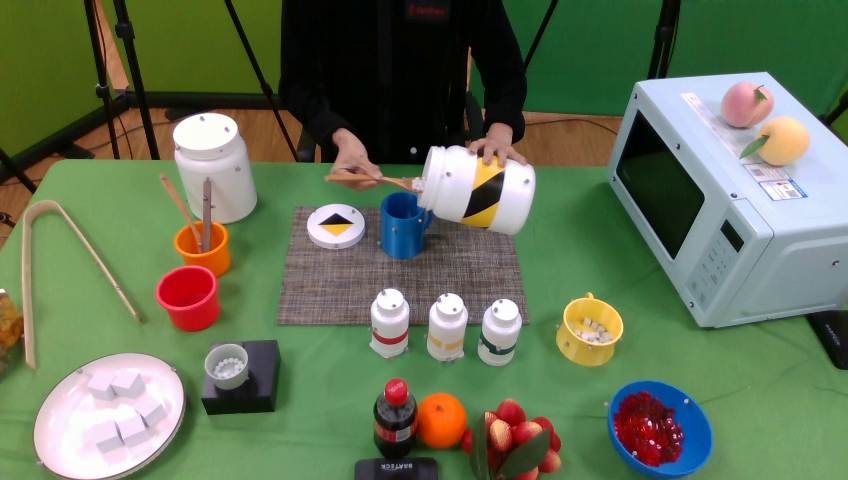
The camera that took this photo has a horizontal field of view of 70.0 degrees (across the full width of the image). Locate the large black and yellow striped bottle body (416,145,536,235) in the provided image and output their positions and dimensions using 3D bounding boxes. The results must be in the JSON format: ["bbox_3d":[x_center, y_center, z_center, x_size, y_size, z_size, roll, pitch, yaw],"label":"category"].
[{"bbox_3d":[0.088,-0.090,1.059,0.184,0.131,0.130,13,46,-7],"label":"large black and yellow striped bottle body"}]

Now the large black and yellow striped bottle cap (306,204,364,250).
[{"bbox_3d":[-0.178,-0.029,1.211,0.115,0.019,0.114,2,47,-2],"label":"large black and yellow striped bottle cap"}]

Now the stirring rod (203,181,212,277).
[{"bbox_3d":[-0.396,-0.021,1.108,0.014,0.006,0.176,-1,89,-1],"label":"stirring rod"}]

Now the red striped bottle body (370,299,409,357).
[{"bbox_3d":[-0.057,0.135,0.996,0.063,0.120,0.062,2,47,-2],"label":"red striped bottle body"}]

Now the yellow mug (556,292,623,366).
[{"bbox_3d":[0.285,0.145,1.051,0.100,0.064,0.130,7,45,3],"label":"yellow mug"}]

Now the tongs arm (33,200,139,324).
[{"bbox_3d":[-0.622,0.034,1.105,0.051,0.026,0.382,-32,56,-26],"label":"tongs arm"}]

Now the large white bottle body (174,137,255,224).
[{"bbox_3d":[-0.408,-0.136,1.183,0.131,0.185,0.130,2,46,-2],"label":"large white bottle body"}]

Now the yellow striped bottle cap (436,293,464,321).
[{"bbox_3d":[0.041,0.106,0.959,0.044,0.019,0.044,0,49,1],"label":"yellow striped bottle cap"}]

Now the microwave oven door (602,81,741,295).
[{"bbox_3d":[0.456,-0.107,1.162,0.039,0.245,0.353,-6,47,-11],"label":"microwave oven door"}]

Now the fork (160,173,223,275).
[{"bbox_3d":[-0.426,-0.030,1.103,0.028,0.018,0.207,-30,99,-22],"label":"fork"}]

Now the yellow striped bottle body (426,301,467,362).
[{"bbox_3d":[0.037,0.142,0.996,0.063,0.121,0.062,2,46,-2],"label":"yellow striped bottle body"}]

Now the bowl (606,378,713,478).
[{"bbox_3d":[0.340,0.292,0.906,0.151,0.077,0.150,2,46,-2],"label":"bowl"}]

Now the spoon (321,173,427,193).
[{"bbox_3d":[-0.078,-0.103,1.039,0.194,0.022,0.041,5,48,-19],"label":"spoon"}]

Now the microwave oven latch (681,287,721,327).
[{"bbox_3d":[0.494,0.119,1.087,0.030,0.029,0.078,-6,46,-9],"label":"microwave oven latch"}]

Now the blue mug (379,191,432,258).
[{"bbox_3d":[-0.031,-0.036,1.167,0.116,0.106,0.082,-27,54,-27],"label":"blue mug"}]

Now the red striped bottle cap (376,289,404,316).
[{"bbox_3d":[-0.054,0.098,0.958,0.044,0.018,0.044,0,48,0],"label":"red striped bottle cap"}]

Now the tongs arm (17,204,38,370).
[{"bbox_3d":[-0.698,0.069,1.068,0.028,0.028,0.385,-20,50,-13],"label":"tongs arm"}]

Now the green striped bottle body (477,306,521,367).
[{"bbox_3d":[0.124,0.151,0.995,0.063,0.120,0.063,2,46,-1],"label":"green striped bottle body"}]

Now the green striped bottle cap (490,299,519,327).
[{"bbox_3d":[0.127,0.115,0.958,0.044,0.020,0.044,3,48,-3],"label":"green striped bottle cap"}]

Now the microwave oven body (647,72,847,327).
[{"bbox_3d":[0.607,-0.089,1.164,0.326,0.261,0.438,-7,46,-10],"label":"microwave oven body"}]

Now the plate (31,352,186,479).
[{"bbox_3d":[-0.459,0.262,0.898,0.209,0.038,0.208,2,46,-2],"label":"plate"}]

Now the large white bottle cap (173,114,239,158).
[{"bbox_3d":[-0.403,-0.195,1.122,0.115,0.018,0.114,2,47,-2],"label":"large white bottle cap"}]

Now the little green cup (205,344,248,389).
[{"bbox_3d":[-0.294,0.191,0.909,0.061,0.039,0.061,1,48,-1],"label":"little green cup"}]
